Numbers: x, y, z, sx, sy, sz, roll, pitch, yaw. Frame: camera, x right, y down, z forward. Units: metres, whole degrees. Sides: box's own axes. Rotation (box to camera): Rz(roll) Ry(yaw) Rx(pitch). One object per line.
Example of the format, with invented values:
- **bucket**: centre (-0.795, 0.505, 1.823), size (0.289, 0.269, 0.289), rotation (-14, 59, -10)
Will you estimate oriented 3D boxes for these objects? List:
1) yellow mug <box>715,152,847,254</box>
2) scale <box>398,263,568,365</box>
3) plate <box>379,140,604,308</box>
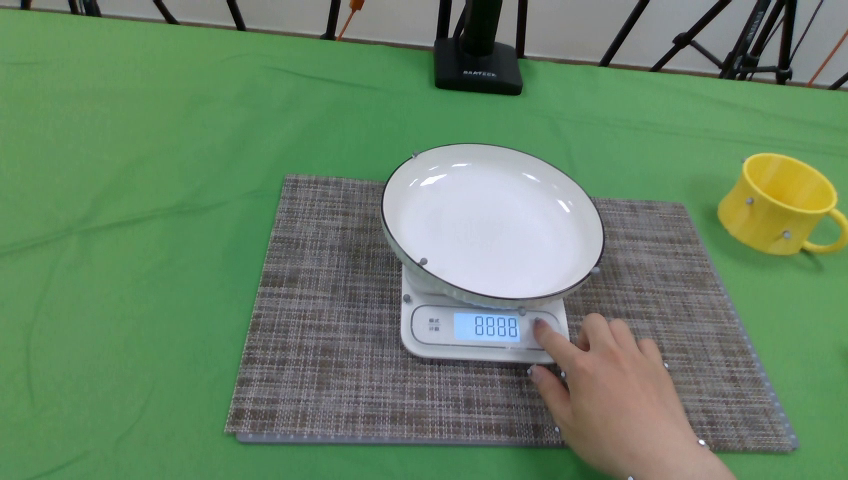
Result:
- **yellow mug**: centre (0.398, -0.034, 0.664), size (0.100, 0.064, 0.130), rotation (-33, 60, -33)
- **scale**: centre (0.052, 0.024, 0.572), size (0.149, 0.032, 0.199), rotation (4, 46, -5)
- **plate**: centre (0.061, -0.016, 0.565), size (0.209, 0.038, 0.207), rotation (5, 46, -5)
